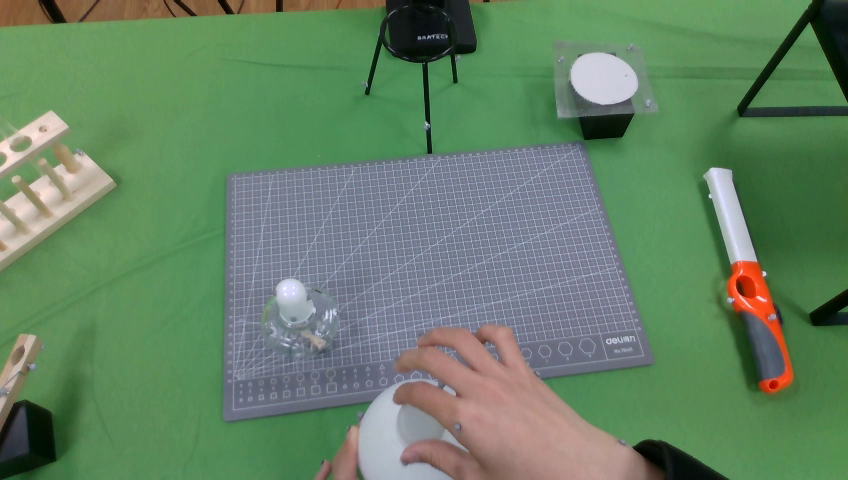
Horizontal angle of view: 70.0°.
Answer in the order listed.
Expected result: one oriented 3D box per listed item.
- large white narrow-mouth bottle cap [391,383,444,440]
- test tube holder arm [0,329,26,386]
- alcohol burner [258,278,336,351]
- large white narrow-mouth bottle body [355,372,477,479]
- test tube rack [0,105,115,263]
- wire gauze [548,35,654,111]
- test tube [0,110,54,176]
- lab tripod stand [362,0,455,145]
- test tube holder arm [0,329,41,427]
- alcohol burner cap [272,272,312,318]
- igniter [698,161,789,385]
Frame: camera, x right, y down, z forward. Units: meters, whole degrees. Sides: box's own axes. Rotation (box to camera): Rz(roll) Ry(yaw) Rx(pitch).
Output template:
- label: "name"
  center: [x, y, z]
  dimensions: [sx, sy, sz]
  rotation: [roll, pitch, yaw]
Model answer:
- label: "large white narrow-mouth bottle cap"
  center: [-0.005, 0.120, 0.425]
  dimensions: [0.038, 0.024, 0.037]
  rotation: [1, 62, -1]
- label: "test tube holder arm"
  center: [-0.387, 0.125, 0.562]
  dimensions: [0.010, 0.015, 0.087]
  rotation: [3, 62, 8]
- label: "alcohol burner"
  center: [-0.127, 0.066, 0.599]
  dimensions: [0.078, 0.120, 0.077]
  rotation: [2, 61, -3]
- label: "large white narrow-mouth bottle body"
  center: [-0.007, 0.167, 0.511]
  dimensions: [0.102, 0.196, 0.101]
  rotation: [1, 62, -1]
- label: "test tube rack"
  center: [-0.473, -0.032, 0.653]
  dimensions: [0.066, 0.086, 0.242]
  rotation: [39, 68, 16]
- label: "wire gauze"
  center: [0.220, -0.213, 0.765]
  dimensions: [0.121, 0.011, 0.124]
  rotation: [1, 62, -2]
- label: "test tube"
  center: [-0.438, -0.115, 0.641]
  dimensions: [0.017, 0.151, 0.017]
  rotation: [0, 61, 1]
- label: "lab tripod stand"
  center: [-0.009, -0.212, 0.740]
  dimensions: [0.148, 0.132, 0.147]
  rotation: [2, 63, -3]
- label: "test tube holder arm"
  center: [-0.387, 0.165, 0.540]
  dimensions: [0.013, 0.015, 0.177]
  rotation: [3, 62, 8]
- label: "alcohol burner cap"
  center: [-0.126, 0.050, 0.567]
  dimensions: [0.034, 0.048, 0.033]
  rotation: [0, 58, 1]
- label: "igniter"
  center: [0.362, 0.029, 0.692]
  dimensions: [0.057, 0.025, 0.274]
  rotation: [4, 62, -12]
